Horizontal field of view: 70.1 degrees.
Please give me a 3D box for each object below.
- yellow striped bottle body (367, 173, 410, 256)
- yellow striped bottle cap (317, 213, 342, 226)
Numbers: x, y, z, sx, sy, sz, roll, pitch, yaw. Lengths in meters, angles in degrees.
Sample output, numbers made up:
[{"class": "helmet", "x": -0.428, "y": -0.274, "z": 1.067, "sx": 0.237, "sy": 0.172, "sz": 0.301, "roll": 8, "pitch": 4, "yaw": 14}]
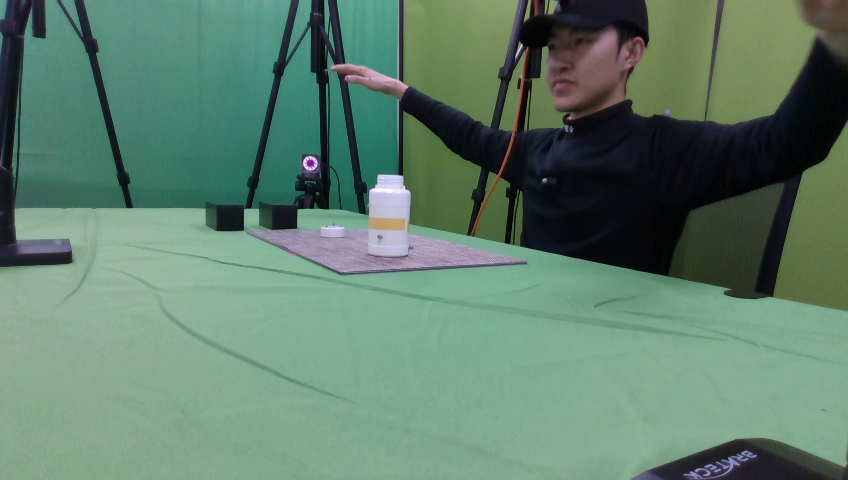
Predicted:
[{"class": "yellow striped bottle body", "x": -0.052, "y": -0.040, "z": 0.901, "sx": 0.063, "sy": 0.120, "sz": 0.063, "roll": 2, "pitch": 7, "yaw": 0}, {"class": "yellow striped bottle cap", "x": -0.171, "y": -0.038, "z": 1.102, "sx": 0.044, "sy": 0.018, "sz": 0.044, "roll": -4, "pitch": 13, "yaw": 1}]
